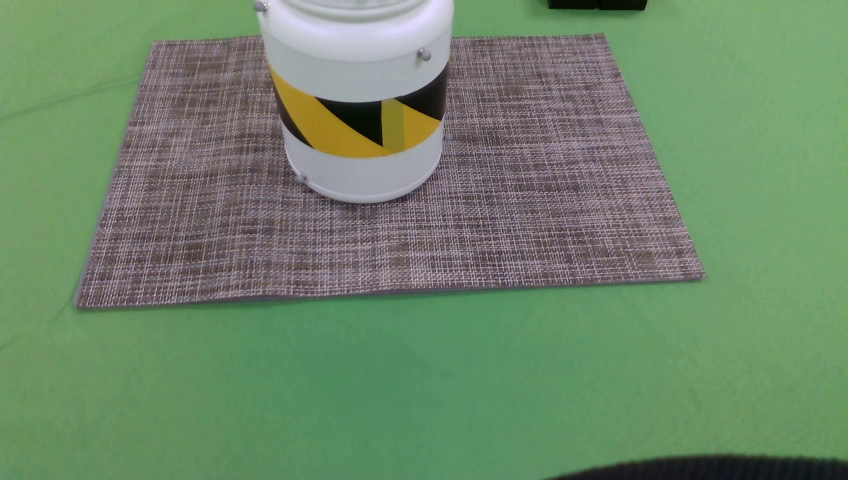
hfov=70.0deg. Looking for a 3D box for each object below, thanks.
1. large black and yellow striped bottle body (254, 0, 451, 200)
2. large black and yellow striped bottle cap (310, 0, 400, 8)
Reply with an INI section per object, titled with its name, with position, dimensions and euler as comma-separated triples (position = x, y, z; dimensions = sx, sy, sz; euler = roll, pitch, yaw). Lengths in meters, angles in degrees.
[large black and yellow striped bottle body]
position = -0.048, -0.133, 0.438
dimensions = 0.131, 0.185, 0.129
euler = 2, 54, -2
[large black and yellow striped bottle cap]
position = -0.044, -0.184, 0.370
dimensions = 0.115, 0.019, 0.114
euler = 1, 55, -2
